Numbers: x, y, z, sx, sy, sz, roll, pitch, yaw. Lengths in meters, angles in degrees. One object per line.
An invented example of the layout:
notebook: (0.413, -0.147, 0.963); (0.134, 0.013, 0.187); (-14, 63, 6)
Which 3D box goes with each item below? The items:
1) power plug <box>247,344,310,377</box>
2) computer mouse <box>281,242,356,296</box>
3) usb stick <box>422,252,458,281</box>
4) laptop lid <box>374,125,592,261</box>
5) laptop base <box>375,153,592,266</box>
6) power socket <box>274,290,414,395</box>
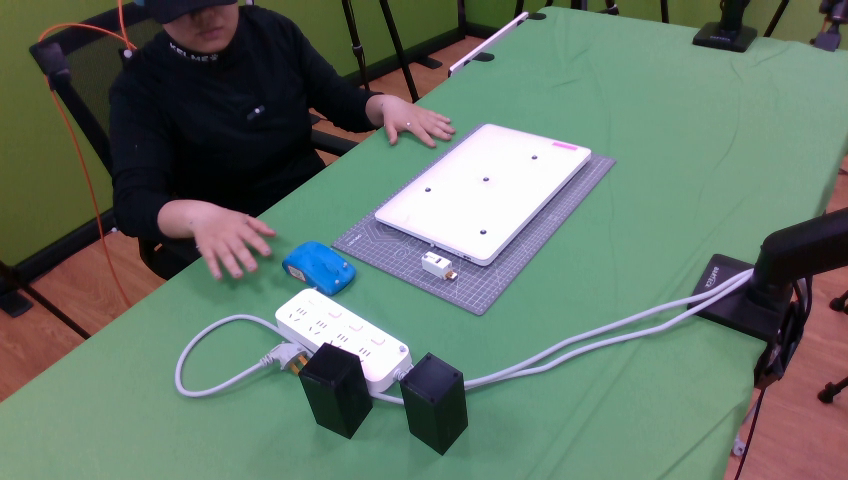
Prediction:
power plug: (-0.187, 0.169, 0.798); (0.072, 0.035, 0.052); (-41, 70, -5)
computer mouse: (-0.164, 0.041, 0.934); (0.116, 0.041, 0.063); (27, 48, 28)
usb stick: (0.025, 0.042, 0.908); (0.058, 0.027, 0.021); (27, 48, 31)
laptop lid: (0.109, -0.101, 1.057); (0.239, 0.013, 0.358); (23, 48, 34)
laptop base: (0.112, -0.091, 1.063); (0.233, 0.023, 0.355); (21, 47, 34)
power socket: (-0.114, 0.134, 0.820); (0.225, 0.033, 0.072); (25, 49, 33)
